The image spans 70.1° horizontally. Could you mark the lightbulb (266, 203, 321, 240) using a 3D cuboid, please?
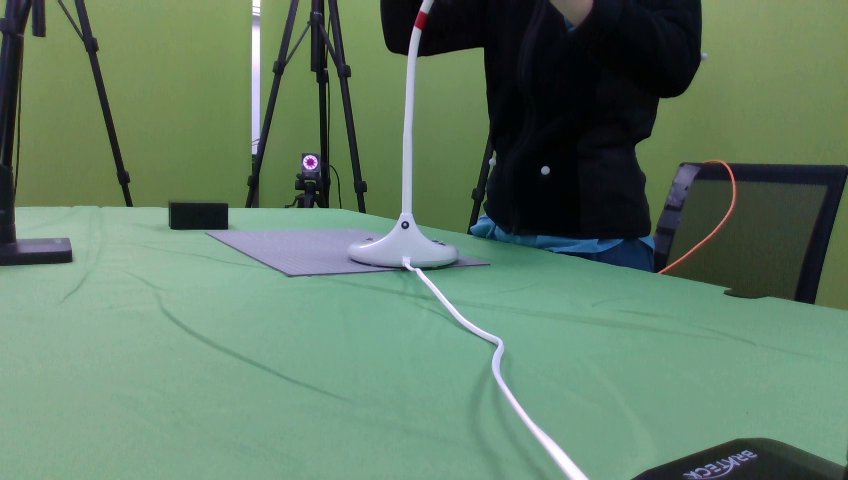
[{"bbox_3d":[-0.224,-0.026,1.032,0.059,0.059,0.108,8,24,38],"label":"lightbulb"}]

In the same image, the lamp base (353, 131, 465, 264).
[{"bbox_3d":[-0.014,-0.062,0.851,0.161,0.180,0.178,-1,11,-20],"label":"lamp base"}]
